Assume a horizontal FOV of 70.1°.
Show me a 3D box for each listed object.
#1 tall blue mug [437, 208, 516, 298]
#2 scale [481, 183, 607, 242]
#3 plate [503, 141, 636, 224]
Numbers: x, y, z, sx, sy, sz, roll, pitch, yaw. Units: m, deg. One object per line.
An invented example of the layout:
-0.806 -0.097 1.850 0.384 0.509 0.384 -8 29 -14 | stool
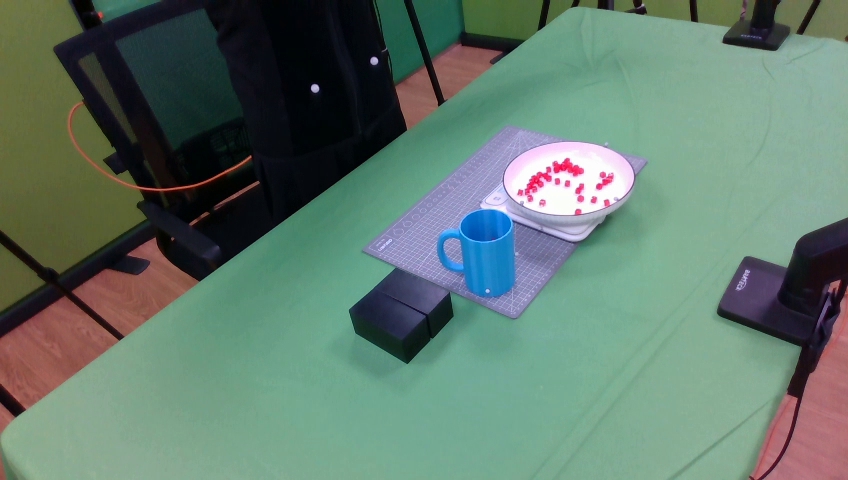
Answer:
0.078 0.023 0.869 0.107 0.108 0.077 -14 41 -6 | tall blue mug
0.211 -0.070 1.014 0.199 0.032 0.149 23 49 33 | scale
0.233 -0.091 0.983 0.209 0.038 0.208 -5 41 5 | plate
